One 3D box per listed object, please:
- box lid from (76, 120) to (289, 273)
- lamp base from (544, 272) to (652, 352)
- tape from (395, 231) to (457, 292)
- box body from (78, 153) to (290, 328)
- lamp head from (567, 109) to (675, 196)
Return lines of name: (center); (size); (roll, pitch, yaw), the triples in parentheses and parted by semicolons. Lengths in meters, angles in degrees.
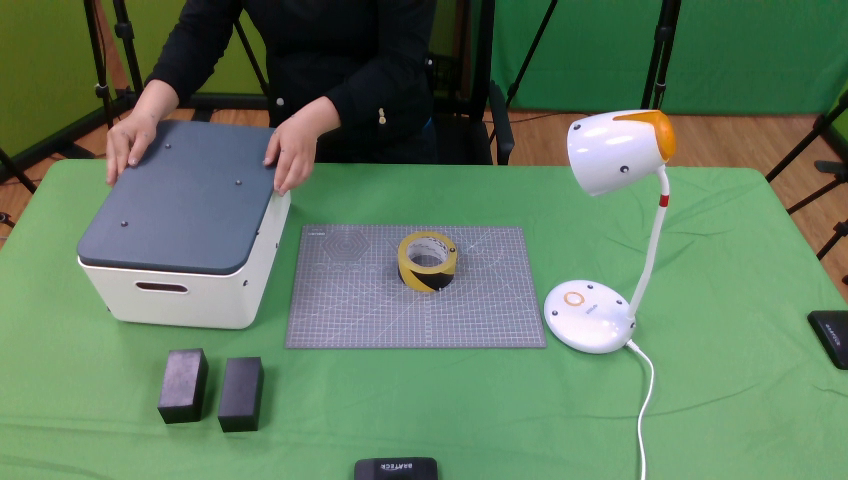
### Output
box lid: (-0.396, -0.088, 1.042); (0.263, 0.015, 0.369); (4, 45, 0)
lamp base: (0.310, 0.086, 1.029); (0.178, 0.181, 0.160); (32, 52, 21)
tape: (0.005, 0.039, 1.136); (0.117, 0.053, 0.116); (2, 46, -2)
box body: (-0.400, -0.026, 1.095); (0.254, 0.161, 0.362); (4, 46, 0)
lamp head: (0.272, -0.123, 0.818); (0.122, 0.113, 0.112); (-9, 35, 37)
